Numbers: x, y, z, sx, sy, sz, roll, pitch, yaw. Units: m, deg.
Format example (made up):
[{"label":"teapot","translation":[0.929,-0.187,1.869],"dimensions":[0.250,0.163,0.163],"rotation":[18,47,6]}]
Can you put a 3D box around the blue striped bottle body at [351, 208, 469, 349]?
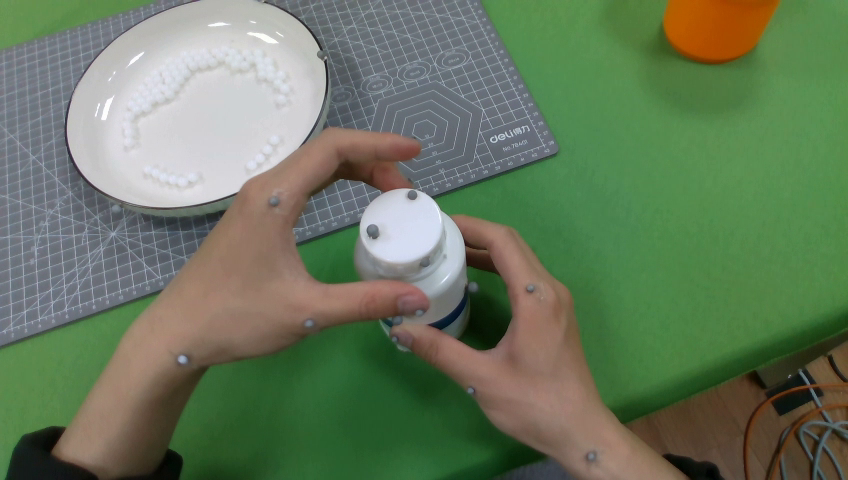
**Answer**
[{"label":"blue striped bottle body","translation":[-0.006,0.019,0.362],"dimensions":[0.063,0.122,0.062],"rotation":[-3,63,6]}]

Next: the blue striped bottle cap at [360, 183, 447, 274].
[{"label":"blue striped bottle cap","translation":[-0.010,-0.006,0.311],"dimensions":[0.044,0.021,0.044],"rotation":[-3,65,7]}]

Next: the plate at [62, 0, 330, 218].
[{"label":"plate","translation":[-0.174,-0.105,0.482],"dimensions":[0.207,0.039,0.206],"rotation":[-2,64,4]}]
